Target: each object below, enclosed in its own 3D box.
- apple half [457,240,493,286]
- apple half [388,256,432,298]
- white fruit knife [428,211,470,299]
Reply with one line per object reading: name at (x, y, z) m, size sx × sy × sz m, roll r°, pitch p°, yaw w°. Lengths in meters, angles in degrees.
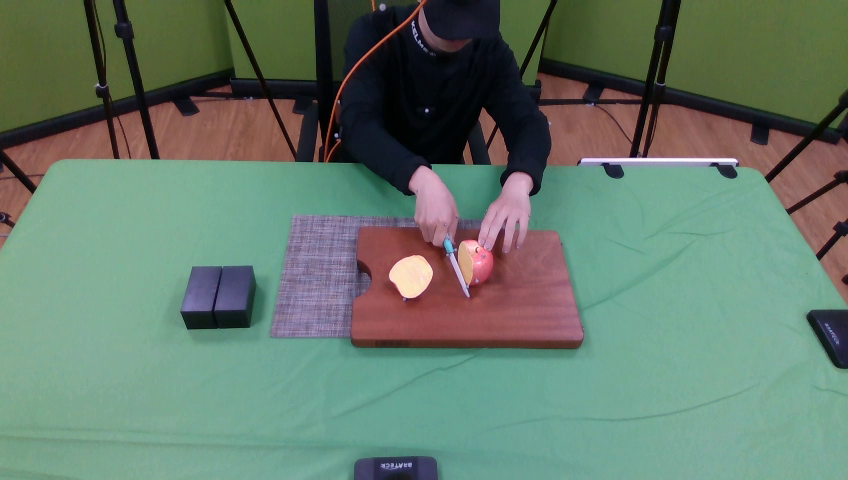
apple half at (0.095, 0.042, 1.094) m, size 0.053 × 0.075 × 0.080 m, roll -6°, pitch 42°, yaw -18°
apple half at (-0.019, 0.069, 1.080) m, size 0.081 × 0.033 × 0.081 m, roll -6°, pitch 62°, yaw 12°
white fruit knife at (0.047, 0.023, 1.127) m, size 0.016 × 0.027 × 0.206 m, roll -11°, pitch 56°, yaw -19°
